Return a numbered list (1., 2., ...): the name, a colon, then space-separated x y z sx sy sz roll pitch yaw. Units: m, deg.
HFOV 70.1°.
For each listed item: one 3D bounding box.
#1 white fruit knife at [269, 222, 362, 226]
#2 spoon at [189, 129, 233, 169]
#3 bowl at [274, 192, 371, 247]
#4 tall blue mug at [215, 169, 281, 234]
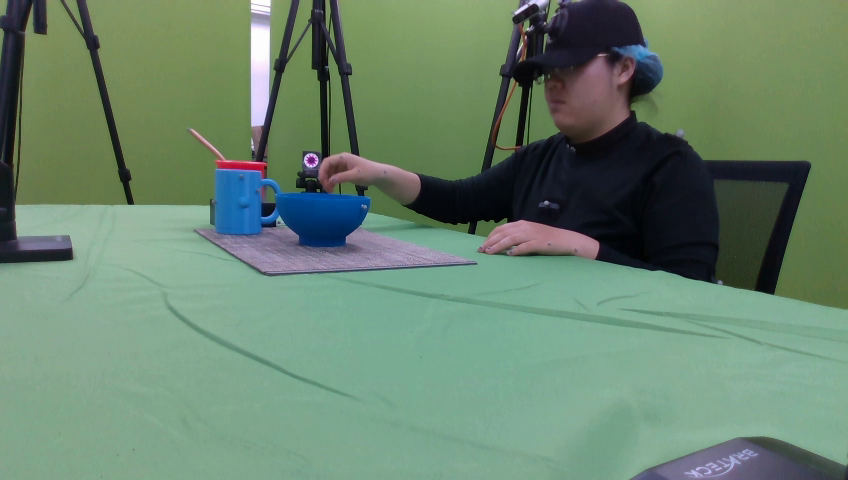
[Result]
1. white fruit knife: -0.221 -0.037 1.261 0.208 0.016 0.027 -4 -17 -31
2. spoon: -0.388 -0.150 1.174 0.193 0.021 0.042 49 20 7
3. bowl: -0.161 -0.033 0.958 0.151 0.077 0.151 3 8 0
4. tall blue mug: -0.313 -0.069 1.061 0.077 0.108 0.108 6 8 31
